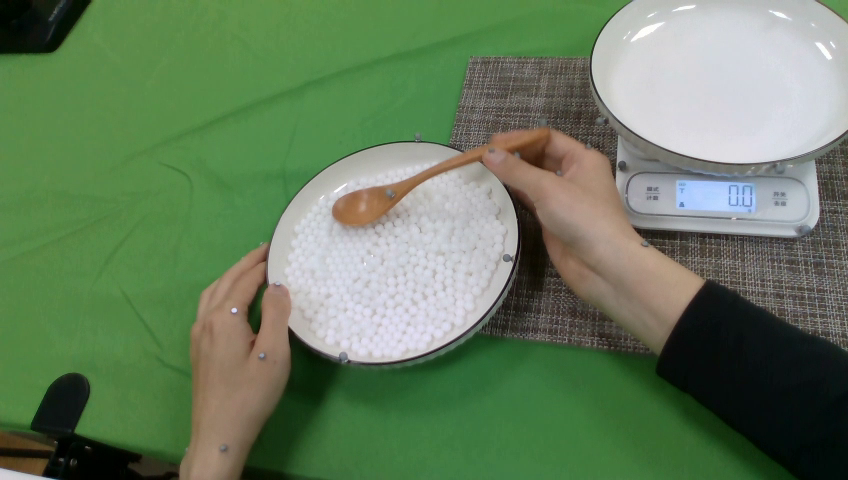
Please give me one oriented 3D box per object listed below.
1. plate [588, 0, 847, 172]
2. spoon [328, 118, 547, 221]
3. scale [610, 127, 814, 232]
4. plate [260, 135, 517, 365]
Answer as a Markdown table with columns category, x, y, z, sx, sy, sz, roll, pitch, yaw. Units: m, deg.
| category | x | y | z | sx | sy | sz | roll | pitch | yaw |
| --- | --- | --- | --- | --- | --- | --- | --- | --- | --- |
| plate | 0.238 | -0.134 | 0.488 | 0.207 | 0.039 | 0.205 | -5 | 59 | 8 |
| spoon | 0.005 | -0.057 | 0.485 | 0.193 | 0.022 | 0.041 | -21 | 49 | 24 |
| scale | 0.236 | -0.100 | 0.507 | 0.148 | 0.032 | 0.199 | 5 | 61 | 14 |
| plate | -0.028 | 0.005 | 0.493 | 0.209 | 0.038 | 0.207 | -5 | 59 | 8 |
